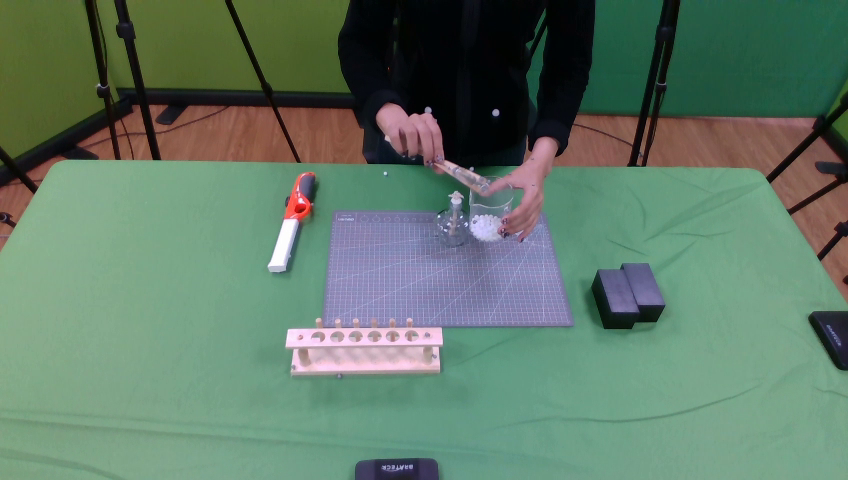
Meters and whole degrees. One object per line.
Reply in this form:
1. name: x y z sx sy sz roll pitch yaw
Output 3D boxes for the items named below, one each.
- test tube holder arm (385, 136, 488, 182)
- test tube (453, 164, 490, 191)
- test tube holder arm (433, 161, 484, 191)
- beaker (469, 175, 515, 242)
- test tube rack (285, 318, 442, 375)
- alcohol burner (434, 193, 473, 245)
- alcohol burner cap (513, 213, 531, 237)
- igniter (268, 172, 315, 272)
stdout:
1. test tube holder arm: 0.018 -0.128 0.948 0.178 0.013 0.015 26 7 16
2. test tube: 0.075 -0.095 0.931 0.017 0.151 0.017 -2 84 21
3. test tube holder arm: 0.053 -0.102 0.936 0.087 0.010 0.015 34 10 15
4. beaker: 0.112 -0.049 1.043 0.084 0.101 0.073 -26 54 -18
5. test tube rack: -0.095 0.168 0.986 0.242 0.085 0.066 0 46 -4
6. alcohol burner: 0.059 -0.046 1.180 0.078 0.120 0.077 1 48 -1
7. alcohol burner cap: 0.200 -0.034 1.227 0.034 0.048 0.033 1 46 -1
8. igniter: -0.263 -0.045 1.219 0.057 0.025 0.275 -2 45 8
